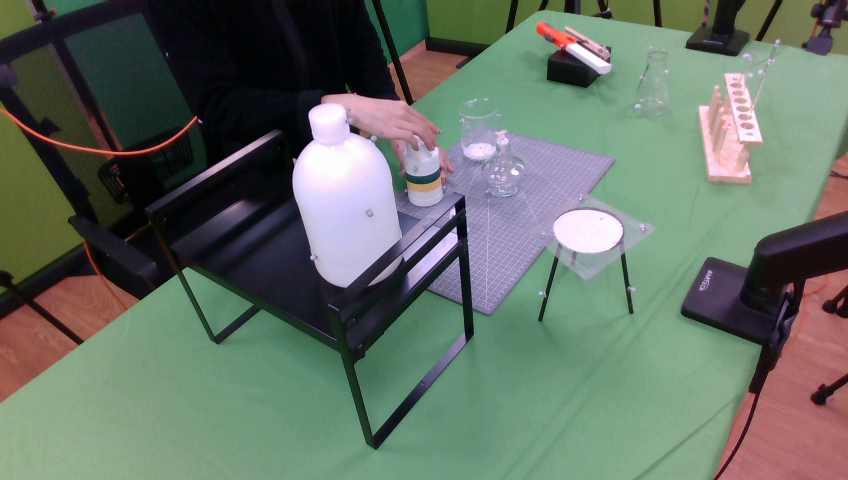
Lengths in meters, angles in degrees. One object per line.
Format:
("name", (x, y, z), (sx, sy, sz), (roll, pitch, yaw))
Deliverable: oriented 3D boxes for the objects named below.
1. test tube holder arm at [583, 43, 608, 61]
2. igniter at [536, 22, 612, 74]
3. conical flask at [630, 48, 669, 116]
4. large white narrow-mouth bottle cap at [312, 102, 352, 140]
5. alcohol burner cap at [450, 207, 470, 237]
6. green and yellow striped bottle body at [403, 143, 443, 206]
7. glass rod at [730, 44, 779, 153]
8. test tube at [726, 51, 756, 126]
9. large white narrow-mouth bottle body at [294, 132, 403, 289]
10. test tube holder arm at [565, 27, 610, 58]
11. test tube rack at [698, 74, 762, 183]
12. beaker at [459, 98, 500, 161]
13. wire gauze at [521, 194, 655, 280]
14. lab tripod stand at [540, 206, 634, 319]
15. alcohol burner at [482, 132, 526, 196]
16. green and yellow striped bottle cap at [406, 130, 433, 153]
("test tube holder arm", (0.379, -0.420, 1.341), (0.010, 0.015, 0.087), (-39, 41, 10))
("igniter", (0.330, -0.439, 1.366), (0.057, 0.025, 0.274), (-11, 41, -20))
("conical flask", (0.456, -0.317, 1.205), (0.075, 0.122, 0.075), (-4, 41, 4))
("large white narrow-mouth bottle cap", (-0.088, -0.114, 0.579), (0.038, 0.024, 0.037), (-3, 39, 3))
("alcohol burner cap", (0.057, -0.032, 0.987), (0.034, 0.048, 0.033), (-5, 41, 4))
("green and yellow striped bottle body", (-0.002, -0.123, 1.042), (0.063, 0.120, 0.063), (-4, 41, 4))
("glass rod", (0.555, -0.234, 1.020), (0.008, 0.200, 0.008), (2, 40, -1))
("test tube", (0.568, -0.268, 1.086), (0.017, 0.151, 0.017), (-4, 46, 4))
("large white narrow-mouth bottle body", (-0.082, -0.047, 0.634), (0.102, 0.195, 0.101), (-4, 39, 3))
("test tube holder arm", (0.369, -0.450, 1.373), (0.013, 0.015, 0.177), (-39, 41, 10))
("test tube rack", (0.547, -0.208, 1.095), (0.066, 0.085, 0.242), (5, 42, 15))
("beaker", (0.104, -0.208, 1.142), (0.074, 0.101, 0.083), (-20, 41, -15))
("wire gauze", (0.207, -0.012, 0.772), (0.122, 0.011, 0.124), (-28, 44, -20))
("lab tripod stand", (0.218, 0.034, 0.821), (0.148, 0.132, 0.147), (-4, 42, 4))
("alcohol burner", (0.137, -0.136, 1.042), (0.078, 0.119, 0.077), (-4, 43, 4))
("green and yellow striped bottle cap", (-0.008, -0.165, 1.009), (0.045, 0.020, 0.045), (-3, 42, 4))
